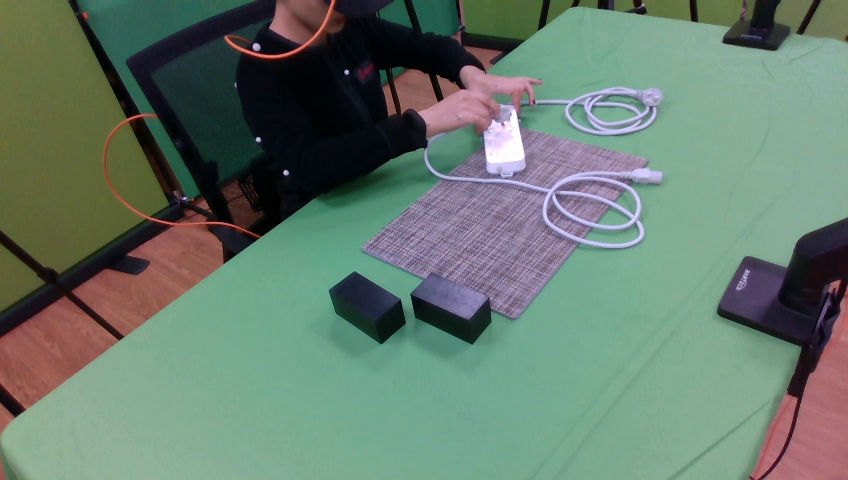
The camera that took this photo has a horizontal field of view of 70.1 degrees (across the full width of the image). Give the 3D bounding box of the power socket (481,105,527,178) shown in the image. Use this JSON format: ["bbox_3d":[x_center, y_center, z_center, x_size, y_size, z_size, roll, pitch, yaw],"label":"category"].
[{"bbox_3d":[0.152,-0.198,1.173,0.072,0.033,0.225,-5,40,5],"label":"power socket"}]

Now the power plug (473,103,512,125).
[{"bbox_3d":[0.133,-0.235,1.155,0.072,0.053,0.035,-19,50,16],"label":"power plug"}]
